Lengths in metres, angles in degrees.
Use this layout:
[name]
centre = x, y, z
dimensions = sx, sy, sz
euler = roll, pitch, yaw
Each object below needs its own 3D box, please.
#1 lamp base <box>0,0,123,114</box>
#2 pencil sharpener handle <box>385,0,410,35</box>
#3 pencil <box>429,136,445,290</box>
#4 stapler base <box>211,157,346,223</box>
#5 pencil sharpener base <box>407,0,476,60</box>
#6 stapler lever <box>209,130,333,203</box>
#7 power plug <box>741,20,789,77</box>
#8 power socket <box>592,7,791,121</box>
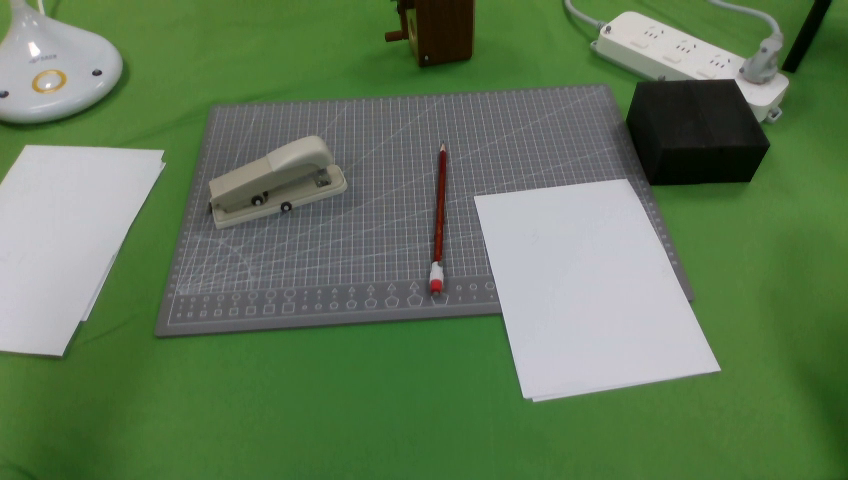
[lamp base]
centre = -0.443, -0.257, 0.651
dimensions = 0.161, 0.182, 0.177
euler = -29, 54, -20
[pencil sharpener handle]
centre = -0.033, -0.266, 0.679
dimensions = 0.031, 0.068, 0.035
euler = -13, 31, -8
[pencil]
centre = 0.014, -0.034, 0.572
dimensions = 0.012, 0.012, 0.192
euler = 1, 51, 3
[stapler base]
centre = -0.141, -0.056, 0.583
dimensions = 0.131, 0.024, 0.041
euler = -19, 53, -12
[pencil sharpener base]
centre = 0.016, -0.273, 0.700
dimensions = 0.077, 0.108, 0.060
euler = -13, 53, -8
[stapler lever]
centre = -0.143, -0.070, 0.563
dimensions = 0.118, 0.040, 0.026
euler = -19, 52, -12
[power plug]
centre = 0.372, -0.196, 0.650
dimensions = 0.072, 0.053, 0.035
euler = -30, 57, -20
[power socket]
centre = 0.300, -0.205, 0.688
dimensions = 0.224, 0.033, 0.072
euler = 37, 61, 27
